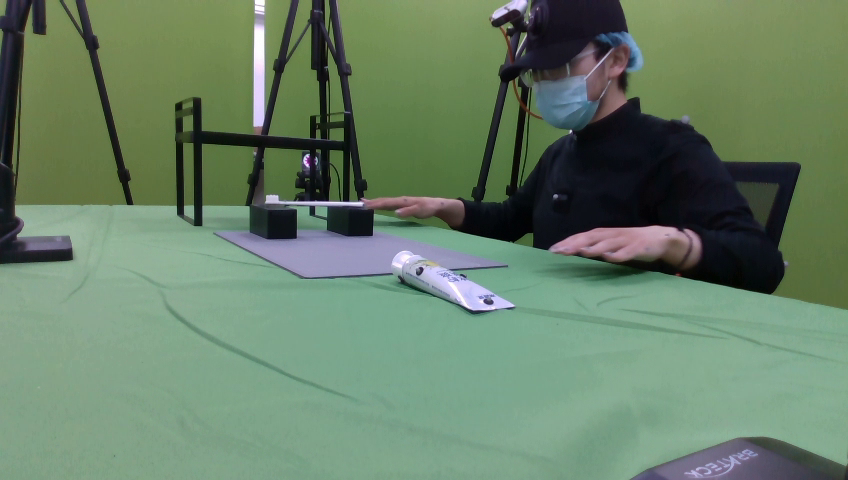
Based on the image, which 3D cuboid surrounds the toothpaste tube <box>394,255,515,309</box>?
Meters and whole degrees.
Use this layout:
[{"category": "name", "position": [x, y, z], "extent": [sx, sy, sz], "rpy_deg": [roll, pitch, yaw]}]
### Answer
[{"category": "toothpaste tube", "position": [0.020, 0.046, 0.636], "extent": [0.055, 0.034, 0.164], "rpy_deg": [-6, 15, -35]}]

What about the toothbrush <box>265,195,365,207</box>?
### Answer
[{"category": "toothbrush", "position": [-0.192, -0.068, 1.081], "extent": [0.183, 0.016, 0.014], "rpy_deg": [1, -8, -26]}]

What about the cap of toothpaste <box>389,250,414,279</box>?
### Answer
[{"category": "cap of toothpaste", "position": [-0.023, 0.030, 0.700], "extent": [0.037, 0.037, 0.011], "rpy_deg": [-3, 13, -36]}]
